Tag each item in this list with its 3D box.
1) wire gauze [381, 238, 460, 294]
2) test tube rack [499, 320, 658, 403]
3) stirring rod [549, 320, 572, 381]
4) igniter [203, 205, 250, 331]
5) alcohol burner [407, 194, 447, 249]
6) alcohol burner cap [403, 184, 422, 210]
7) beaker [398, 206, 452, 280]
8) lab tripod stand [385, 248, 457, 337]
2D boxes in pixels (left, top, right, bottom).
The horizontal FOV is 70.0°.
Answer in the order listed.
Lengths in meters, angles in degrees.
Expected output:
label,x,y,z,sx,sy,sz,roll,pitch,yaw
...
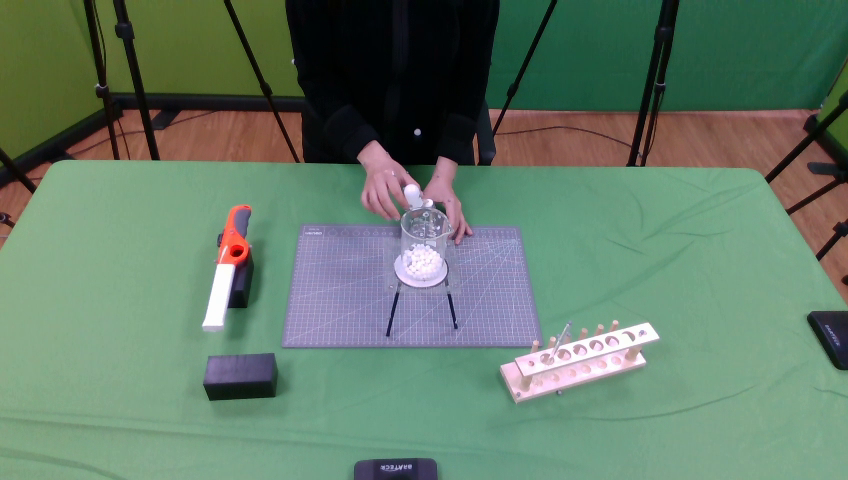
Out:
label,x,y,z,sx,sy,sz,roll,pitch,yaw
wire gauze,-0.007,0.042,0.985,0.125,0.011,0.120,-1,43,-2
test tube rack,0.252,0.187,0.994,0.243,0.085,0.066,-12,48,-15
stirring rod,0.202,0.167,0.901,0.006,0.177,0.014,-17,54,-11
igniter,-0.345,0.039,1.065,0.057,0.025,0.274,2,48,-6
alcohol burner,0.006,-0.040,1.170,0.078,0.120,0.077,1,47,-1
alcohol burner cap,-0.023,-0.081,1.109,0.034,0.048,0.033,-6,47,7
beaker,0.000,0.008,0.950,0.084,0.101,0.073,10,45,6
lab tripod stand,-0.010,0.087,1.032,0.148,0.132,0.147,1,45,-1
